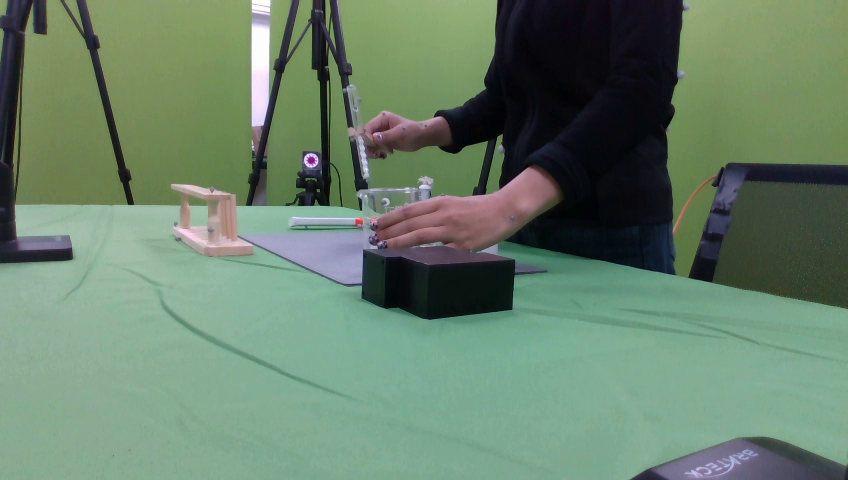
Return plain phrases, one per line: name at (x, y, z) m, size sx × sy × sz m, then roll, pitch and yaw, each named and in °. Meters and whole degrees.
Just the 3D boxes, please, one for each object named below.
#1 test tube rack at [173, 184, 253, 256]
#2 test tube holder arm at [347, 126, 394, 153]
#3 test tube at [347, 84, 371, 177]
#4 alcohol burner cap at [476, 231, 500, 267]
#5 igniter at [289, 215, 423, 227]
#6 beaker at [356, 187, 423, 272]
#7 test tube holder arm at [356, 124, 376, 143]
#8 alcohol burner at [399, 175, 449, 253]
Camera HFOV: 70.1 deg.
test tube rack at (-0.329, -0.036, 0.927) m, size 0.067 × 0.085 × 0.241 m, roll -2°, pitch 9°, yaw -32°
test tube holder arm at (-0.087, -0.167, 1.017) m, size 0.013 × 0.015 × 0.179 m, roll -10°, pitch -4°, yaw 16°
test tube at (-0.102, -0.172, 0.950) m, size 0.017 × 0.150 × 0.017 m, roll -10°, pitch -4°, yaw 0°
alcohol burner cap at (0.088, 0.012, 0.830) m, size 0.034 × 0.048 × 0.034 m, roll 2°, pitch 5°, yaw 0°
igniter at (-0.133, -0.038, 1.232) m, size 0.278 × 0.025 × 0.057 m, roll -1°, pitch -2°, yaw -25°
beaker at (-0.042, -0.014, 0.744) m, size 0.084 × 0.100 × 0.074 m, roll 0°, pitch 6°, yaw 15°
test tube holder arm at (-0.092, -0.170, 0.972) m, size 0.010 × 0.015 × 0.088 m, roll -10°, pitch -4°, yaw 8°
alcohol burner at (-0.001, -0.041, 0.937) m, size 0.078 × 0.119 × 0.078 m, roll 0°, pitch 8°, yaw 0°
